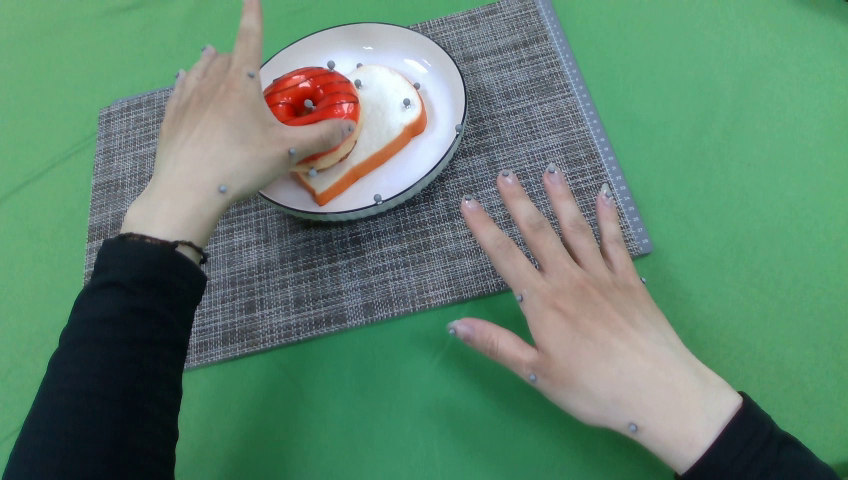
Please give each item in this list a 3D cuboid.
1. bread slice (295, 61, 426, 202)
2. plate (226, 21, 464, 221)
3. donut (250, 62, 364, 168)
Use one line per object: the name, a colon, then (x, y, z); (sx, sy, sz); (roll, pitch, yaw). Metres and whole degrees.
bread slice: (-0.066, -0.106, 0.535); (0.131, 0.019, 0.104); (-37, 63, -9)
plate: (-0.067, -0.103, 0.531); (0.207, 0.039, 0.206); (-4, 62, 7)
donut: (-0.098, -0.105, 0.505); (0.099, 0.049, 0.098); (-5, 64, 10)
